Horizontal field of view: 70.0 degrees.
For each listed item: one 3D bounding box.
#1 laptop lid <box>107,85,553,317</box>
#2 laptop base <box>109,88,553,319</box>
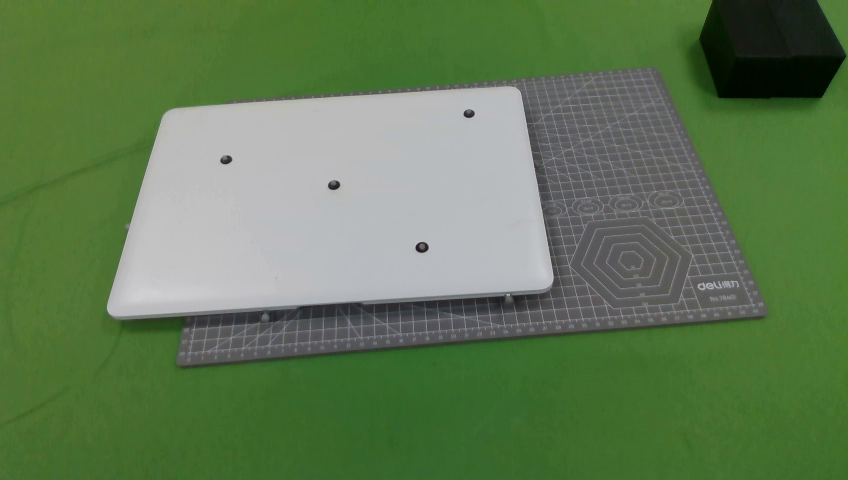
[{"bbox_3d":[-0.078,-0.046,0.531,0.357,0.013,0.239,-2,56,2],"label":"laptop lid"},{"bbox_3d":[-0.078,-0.040,0.542,0.354,0.023,0.233,-4,57,1],"label":"laptop base"}]
